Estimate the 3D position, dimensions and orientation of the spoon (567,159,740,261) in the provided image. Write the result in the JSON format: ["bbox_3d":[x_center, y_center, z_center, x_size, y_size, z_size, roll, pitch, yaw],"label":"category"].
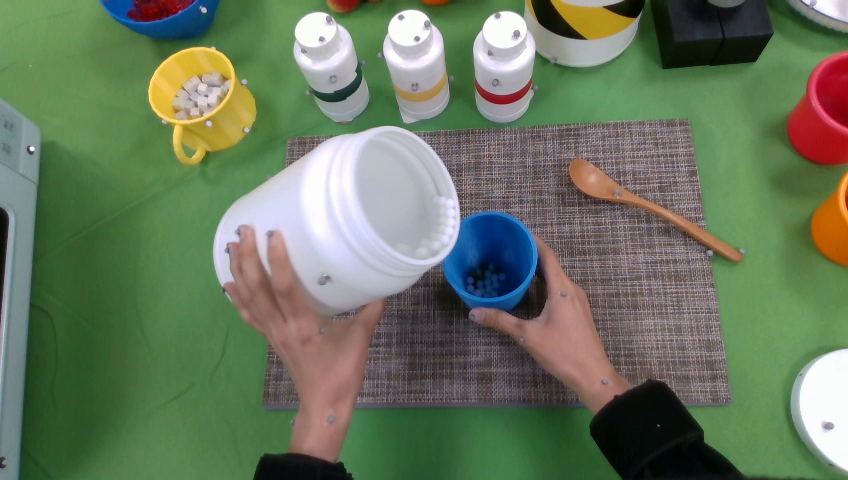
[{"bbox_3d":[0.232,-0.030,0.618,0.193,0.022,0.041,30,51,14],"label":"spoon"}]

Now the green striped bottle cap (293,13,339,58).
[{"bbox_3d":[-0.109,-0.207,0.614,0.044,0.020,0.044,-2,69,5],"label":"green striped bottle cap"}]

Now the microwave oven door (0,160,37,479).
[{"bbox_3d":[-0.446,0.059,0.528,0.039,0.245,0.353,-11,70,3],"label":"microwave oven door"}]

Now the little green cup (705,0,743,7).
[{"bbox_3d":[0.321,-0.279,0.638,0.061,0.039,0.061,-1,69,4],"label":"little green cup"}]

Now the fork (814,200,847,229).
[{"bbox_3d":[0.437,-0.002,0.521,0.028,0.205,0.019,-22,114,-16],"label":"fork"}]

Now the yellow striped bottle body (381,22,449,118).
[{"bbox_3d":[-0.009,-0.189,0.652,0.063,0.121,0.062,-2,70,7],"label":"yellow striped bottle body"}]

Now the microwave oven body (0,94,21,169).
[{"bbox_3d":[-0.595,0.048,0.553,0.326,0.262,0.438,-11,71,2],"label":"microwave oven body"}]

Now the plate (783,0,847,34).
[{"bbox_3d":[0.491,-0.315,0.686,0.209,0.038,0.207,-2,71,5],"label":"plate"}]

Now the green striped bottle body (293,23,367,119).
[{"bbox_3d":[-0.103,-0.190,0.662,0.063,0.120,0.063,-2,70,5],"label":"green striped bottle body"}]

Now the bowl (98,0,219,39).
[{"bbox_3d":[-0.311,-0.303,0.747,0.151,0.077,0.150,-2,71,5],"label":"bowl"}]

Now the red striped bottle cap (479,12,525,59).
[{"bbox_3d":[0.076,-0.200,0.591,0.044,0.018,0.044,-1,69,2],"label":"red striped bottle cap"}]

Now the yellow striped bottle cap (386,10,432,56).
[{"bbox_3d":[-0.015,-0.207,0.604,0.044,0.019,0.044,-2,72,5],"label":"yellow striped bottle cap"}]

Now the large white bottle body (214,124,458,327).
[{"bbox_3d":[-0.074,-0.008,0.497,0.184,0.132,0.129,-23,62,43],"label":"large white bottle body"}]

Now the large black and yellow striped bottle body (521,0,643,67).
[{"bbox_3d":[0.170,-0.286,0.633,0.130,0.185,0.130,-2,70,6],"label":"large black and yellow striped bottle body"}]

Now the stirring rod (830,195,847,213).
[{"bbox_3d":[0.410,-0.003,0.533,0.014,0.006,0.175,1,28,4],"label":"stirring rod"}]

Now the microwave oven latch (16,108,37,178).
[{"bbox_3d":[-0.468,-0.110,0.697,0.030,0.030,0.078,-9,71,3],"label":"microwave oven latch"}]

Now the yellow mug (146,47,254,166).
[{"bbox_3d":[-0.258,-0.147,0.693,0.100,0.064,0.130,8,72,8],"label":"yellow mug"}]

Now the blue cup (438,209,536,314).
[{"bbox_3d":[0.061,0.029,0.573,0.092,0.101,0.092,-2,69,7],"label":"blue cup"}]

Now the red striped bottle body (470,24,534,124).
[{"bbox_3d":[0.084,-0.181,0.640,0.063,0.121,0.062,-4,66,10],"label":"red striped bottle body"}]

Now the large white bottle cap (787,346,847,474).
[{"bbox_3d":[0.390,0.153,0.544,0.115,0.018,0.114,-2,70,5],"label":"large white bottle cap"}]
